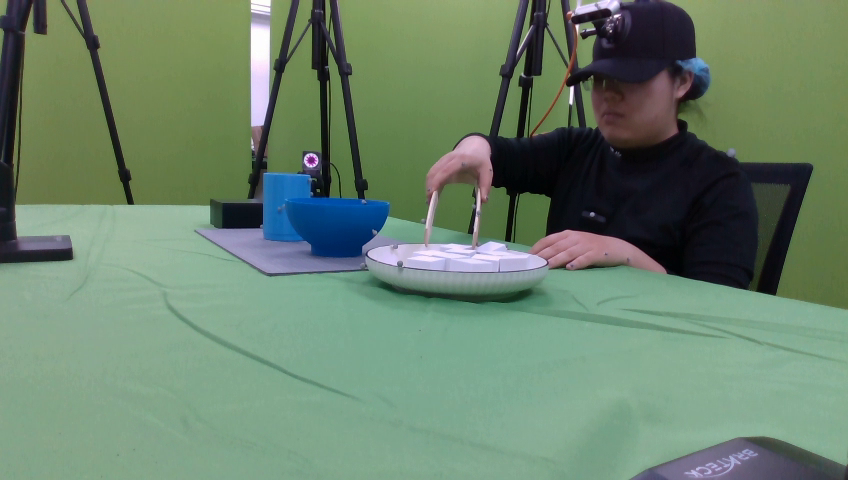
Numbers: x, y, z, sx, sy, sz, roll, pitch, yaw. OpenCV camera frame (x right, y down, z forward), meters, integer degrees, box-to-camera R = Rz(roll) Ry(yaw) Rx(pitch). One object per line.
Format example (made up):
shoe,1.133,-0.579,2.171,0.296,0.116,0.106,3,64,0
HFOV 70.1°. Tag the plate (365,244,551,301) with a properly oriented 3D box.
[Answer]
plate,0.038,0.035,0.685,0.209,0.038,0.209,2,7,0

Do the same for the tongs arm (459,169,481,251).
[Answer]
tongs arm,0.063,-0.057,0.907,0.051,0.026,0.385,3,18,7

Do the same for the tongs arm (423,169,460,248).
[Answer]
tongs arm,0.028,-0.059,0.909,0.028,0.028,0.387,-1,17,8

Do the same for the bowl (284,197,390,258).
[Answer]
bowl,-0.125,-0.018,0.870,0.151,0.077,0.151,2,7,0

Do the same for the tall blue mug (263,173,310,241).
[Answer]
tall blue mug,-0.233,-0.058,1.019,0.078,0.108,0.107,-1,8,-19
